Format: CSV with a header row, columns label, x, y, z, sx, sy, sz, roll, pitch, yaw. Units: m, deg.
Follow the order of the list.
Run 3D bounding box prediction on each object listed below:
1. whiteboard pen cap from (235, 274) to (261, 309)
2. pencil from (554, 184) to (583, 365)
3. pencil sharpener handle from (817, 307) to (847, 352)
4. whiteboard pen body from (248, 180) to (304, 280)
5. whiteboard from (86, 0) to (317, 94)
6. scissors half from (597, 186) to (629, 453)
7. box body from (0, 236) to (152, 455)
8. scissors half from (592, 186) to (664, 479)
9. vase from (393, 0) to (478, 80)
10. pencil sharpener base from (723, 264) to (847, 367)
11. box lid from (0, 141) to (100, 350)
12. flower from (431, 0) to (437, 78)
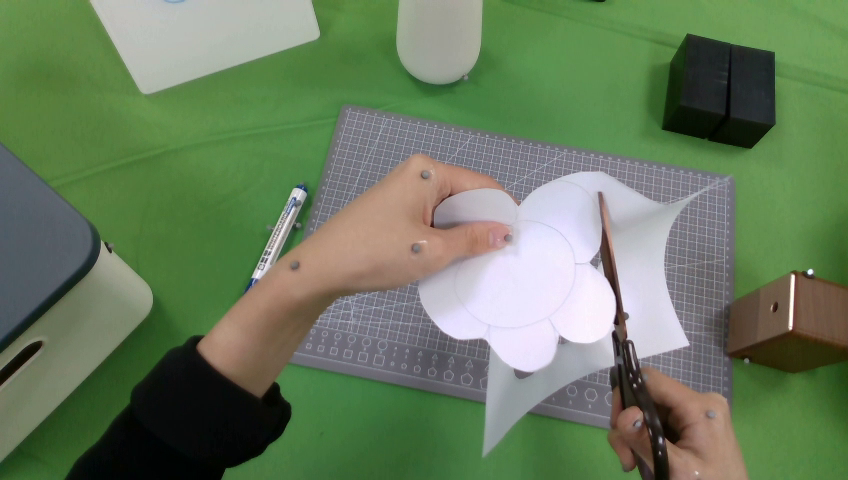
label,x,y,z,sx,sy,sz,roll,pitch,yaw
whiteboard pen cap,-0.173,0.051,0.601,0.018,0.018,0.033,17,65,5
pencil,0.151,0.032,0.626,0.012,0.012,0.192,-2,71,-3
pencil sharpener handle,0.393,0.085,0.553,0.030,0.068,0.036,15,62,1
whiteboard pen body,-0.156,-0.001,0.624,0.017,0.017,0.140,17,67,5
whiteboard,-0.269,-0.349,0.634,0.217,0.308,0.142,-22,51,-10
scissors half,0.115,0.051,0.365,0.013,0.040,0.176,-10,111,6
box body,-0.463,0.014,0.529,0.362,0.161,0.253,37,72,11
scissors half,0.114,0.055,0.344,0.013,0.040,0.175,-11,89,0
vase,0.013,-0.261,0.635,0.098,0.201,0.097,0,67,-1
pencil sharpener base,0.343,0.074,0.566,0.077,0.107,0.061,15,68,1
box lid,-0.462,-0.015,0.460,0.370,0.015,0.262,37,71,11
flower,0.011,-0.305,0.563,0.044,0.365,0.038,4,51,3
